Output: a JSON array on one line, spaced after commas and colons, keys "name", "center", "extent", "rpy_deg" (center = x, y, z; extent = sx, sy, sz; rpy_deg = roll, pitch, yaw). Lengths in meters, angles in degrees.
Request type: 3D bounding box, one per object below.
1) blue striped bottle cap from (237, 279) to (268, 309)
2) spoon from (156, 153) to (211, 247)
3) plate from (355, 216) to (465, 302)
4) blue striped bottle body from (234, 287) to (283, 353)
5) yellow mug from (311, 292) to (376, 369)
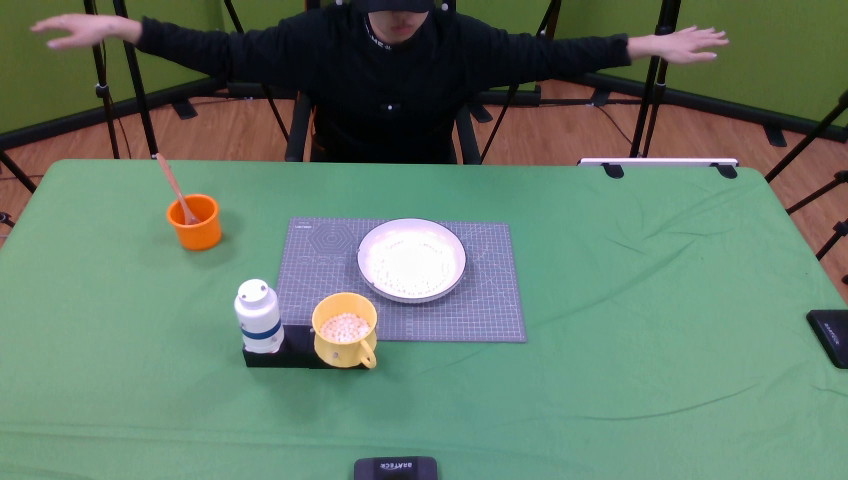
[{"name": "blue striped bottle cap", "center": [-0.252, 0.078, 0.892], "extent": [0.044, 0.021, 0.044], "rpy_deg": [4, 47, -4]}, {"name": "spoon", "center": [-0.458, -0.076, 1.147], "extent": [0.041, 0.194, 0.021], "rpy_deg": [-26, 10, -24]}, {"name": "plate", "center": [-0.027, 0.039, 1.144], "extent": [0.208, 0.039, 0.206], "rpy_deg": [2, 46, -2]}, {"name": "blue striped bottle body", "center": [-0.254, 0.114, 0.929], "extent": [0.063, 0.121, 0.062], "rpy_deg": [2, 46, -2]}, {"name": "yellow mug", "center": [-0.115, 0.150, 0.945], "extent": [0.100, 0.064, 0.130], "rpy_deg": [-30, 57, -28]}]
